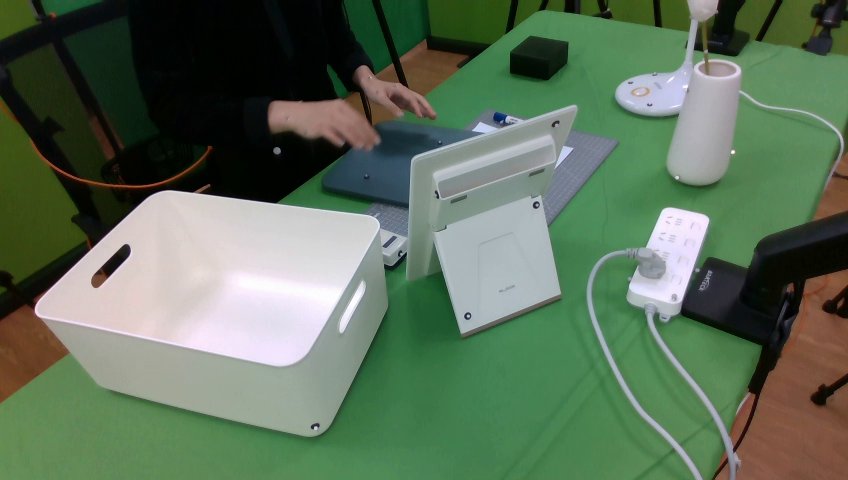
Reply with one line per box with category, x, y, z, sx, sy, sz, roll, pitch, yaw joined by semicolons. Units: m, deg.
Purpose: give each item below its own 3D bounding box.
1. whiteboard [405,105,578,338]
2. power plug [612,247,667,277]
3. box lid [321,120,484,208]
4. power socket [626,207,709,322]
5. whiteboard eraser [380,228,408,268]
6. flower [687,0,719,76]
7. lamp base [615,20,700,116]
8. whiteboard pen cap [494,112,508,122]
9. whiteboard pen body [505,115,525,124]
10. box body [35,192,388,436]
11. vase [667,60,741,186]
whiteboard;0.103;0.003;0.786;0.218;0.306;0.143;-19;62;-14
power plug;0.306;0.031;0.852;0.072;0.053;0.035;21;48;37
box lid;0.017;-0.141;1.145;0.369;0.015;0.263;12;44;22
power socket;0.360;0.026;0.886;0.072;0.033;0.227;17;46;27
whiteboard eraser;-0.081;0.007;0.963;0.112;0.042;0.056;19;48;27
flower;0.436;-0.242;0.934;0.038;0.364;0.043;-24;49;8
lamp base;0.484;-0.364;1.211;0.180;0.181;0.159;-15;41;-14
whiteboard pen cap;0.161;-0.253;1.248;0.033;0.018;0.018;27;51;36
whiteboard pen body;0.203;-0.232;1.213;0.139;0.017;0.017;28;51;36
box body;-0.251;0.088;0.800;0.362;0.161;0.254;7;42;16
vase;0.463;-0.189;0.994;0.098;0.201;0.097;-4;40;4
